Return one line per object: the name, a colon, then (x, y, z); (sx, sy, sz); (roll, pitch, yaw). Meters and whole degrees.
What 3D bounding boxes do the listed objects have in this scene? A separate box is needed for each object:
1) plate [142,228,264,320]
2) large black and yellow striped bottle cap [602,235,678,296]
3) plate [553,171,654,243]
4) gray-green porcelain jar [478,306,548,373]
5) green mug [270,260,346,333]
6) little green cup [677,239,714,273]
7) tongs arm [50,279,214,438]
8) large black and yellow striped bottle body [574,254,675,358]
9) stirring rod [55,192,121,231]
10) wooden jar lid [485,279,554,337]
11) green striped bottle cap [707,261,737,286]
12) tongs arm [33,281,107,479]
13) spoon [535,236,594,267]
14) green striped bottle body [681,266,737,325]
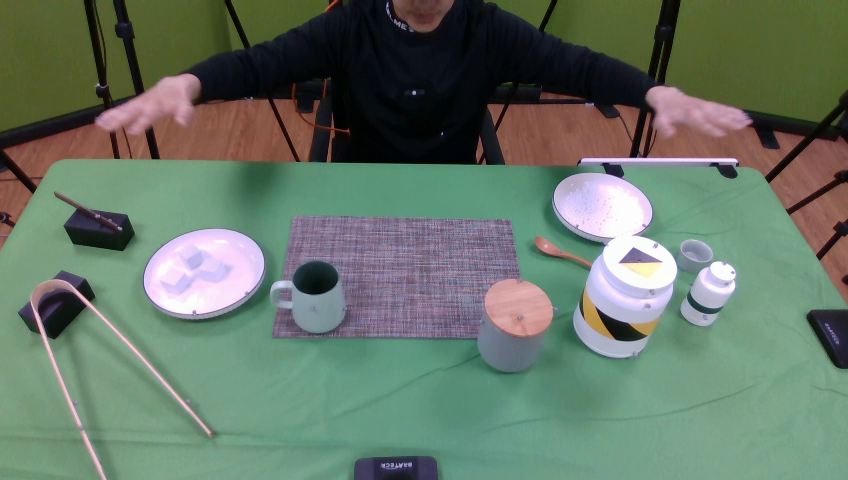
plate: (-0.394, 0.064, 1.095); (0.208, 0.039, 0.206); (2, 46, -2)
large black and yellow striped bottle cap: (0.340, 0.037, 0.955); (0.115, 0.019, 0.114); (2, 47, -1)
plate: (0.373, -0.066, 1.275); (0.209, 0.038, 0.208); (2, 46, -2)
gray-green porcelain jar: (0.144, 0.148, 0.989); (0.106, 0.127, 0.105); (2, 50, -2)
green mug: (-0.198, 0.097, 1.026); (0.125, 0.105, 0.092); (0, 46, -3)
little green cup: (0.530, 0.033, 1.190); (0.061, 0.039, 0.061); (2, 47, -2)
tongs arm: (-0.459, 0.178, 0.949); (0.386, 0.028, 0.028); (37, 60, 17)
large black and yellow striped bottle body: (0.335, 0.096, 1.014); (0.131, 0.185, 0.130); (2, 46, -2)
stirring rod: (-0.632, -0.055, 1.138); (0.175, 0.014, 0.006); (24, 50, 19)
wooden jar lid: (0.147, 0.108, 0.940); (0.108, 0.021, 0.107); (4, 47, -4)
green striped bottle cap: (0.510, 0.057, 1.036); (0.044, 0.020, 0.044); (1, 45, -1)
tongs arm: (-0.517, 0.214, 0.910); (0.051, 0.026, 0.383); (-28, 63, -27)
spoon: (0.303, 0.040, 1.178); (0.193, 0.022, 0.041); (25, 31, 19)
green striped bottle body: (0.507, 0.093, 1.074); (0.063, 0.120, 0.063); (2, 46, -2)
